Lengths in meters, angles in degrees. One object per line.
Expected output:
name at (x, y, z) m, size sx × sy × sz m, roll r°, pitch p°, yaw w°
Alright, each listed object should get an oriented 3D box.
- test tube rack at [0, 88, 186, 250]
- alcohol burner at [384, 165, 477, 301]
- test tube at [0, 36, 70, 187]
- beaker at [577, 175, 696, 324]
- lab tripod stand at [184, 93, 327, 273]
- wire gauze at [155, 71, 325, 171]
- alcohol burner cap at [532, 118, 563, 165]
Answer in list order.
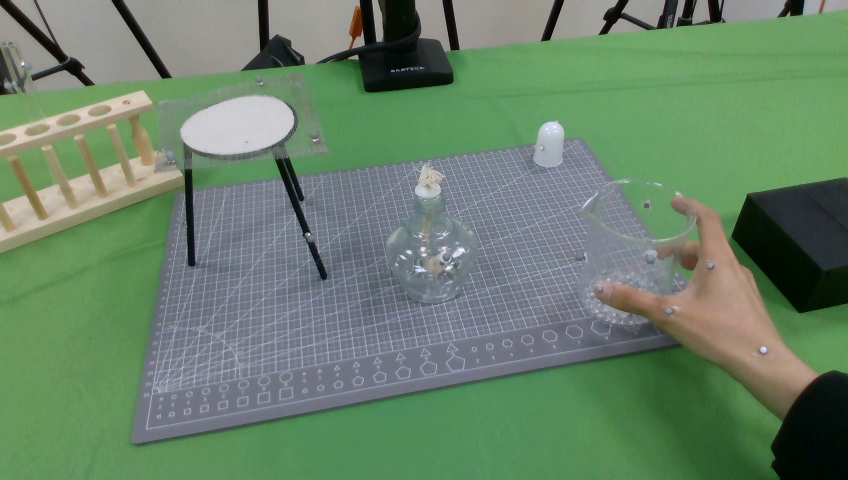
test tube rack at (-0.373, -0.063, 0.592) m, size 0.242 × 0.086 × 0.066 m, roll -26°, pitch 47°, yaw -24°
alcohol burner at (0.005, -0.009, 0.493) m, size 0.078 × 0.120 × 0.077 m, roll -2°, pitch 40°, yaw 2°
test tube at (-0.369, -0.117, 0.577) m, size 0.017 × 0.151 × 0.017 m, roll 1°, pitch 36°, yaw 0°
beaker at (0.159, 0.011, 0.476) m, size 0.084 × 0.101 × 0.073 m, roll 4°, pitch 42°, yaw 9°
lab tripod stand at (-0.146, -0.046, 0.525) m, size 0.148 × 0.133 × 0.147 m, roll -1°, pitch 44°, yaw 2°
wire gauze at (-0.149, -0.096, 0.479) m, size 0.125 × 0.011 × 0.120 m, roll -13°, pitch 43°, yaw -11°
alcohol burner cap at (0.134, -0.108, 0.651) m, size 0.034 × 0.048 × 0.033 m, roll -1°, pitch 42°, yaw 1°
